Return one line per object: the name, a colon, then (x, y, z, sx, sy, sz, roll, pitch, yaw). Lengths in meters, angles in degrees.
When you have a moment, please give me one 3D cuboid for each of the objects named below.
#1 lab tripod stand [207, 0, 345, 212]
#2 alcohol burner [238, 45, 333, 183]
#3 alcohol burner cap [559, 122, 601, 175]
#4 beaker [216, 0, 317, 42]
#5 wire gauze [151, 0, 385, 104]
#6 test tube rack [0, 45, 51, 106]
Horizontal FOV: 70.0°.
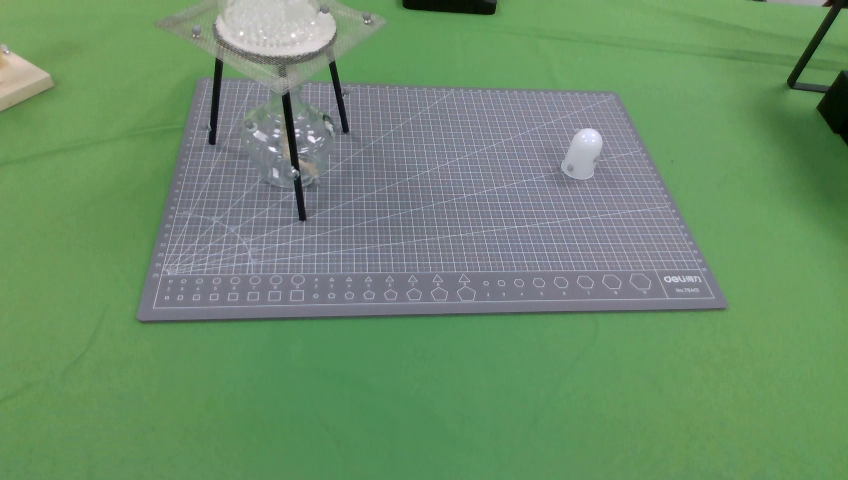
lab tripod stand: (-0.116, -0.117, 0.494, 0.148, 0.132, 0.147, 6, 49, -6)
alcohol burner: (-0.114, -0.106, 0.497, 0.078, 0.120, 0.077, 5, 47, -6)
alcohol burner cap: (0.148, -0.088, 0.570, 0.034, 0.048, 0.033, 3, 47, -3)
beaker: (-0.110, -0.193, 0.408, 0.073, 0.101, 0.084, 31, 52, 17)
wire gauze: (-0.111, -0.160, 0.445, 0.124, 0.011, 0.121, 32, 54, 14)
test tube rack: (-0.445, -0.125, 0.487, 0.066, 0.086, 0.241, 30, 51, 17)
